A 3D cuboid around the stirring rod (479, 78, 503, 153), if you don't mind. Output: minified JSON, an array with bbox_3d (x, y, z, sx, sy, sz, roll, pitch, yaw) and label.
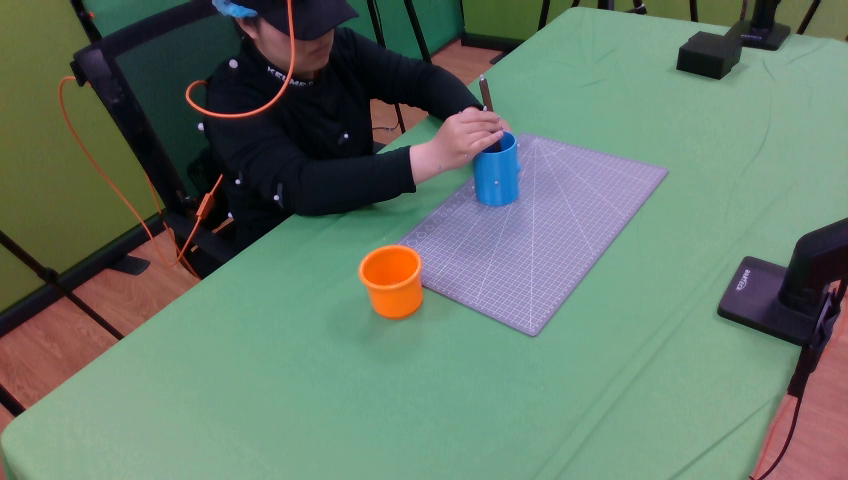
[{"bbox_3d":[0.114,-0.188,1.001,0.014,0.177,0.005,-35,41,-18],"label":"stirring rod"}]

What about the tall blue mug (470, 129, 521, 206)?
[{"bbox_3d":[0.118,-0.132,1.046,0.078,0.108,0.106,-20,41,-10],"label":"tall blue mug"}]
